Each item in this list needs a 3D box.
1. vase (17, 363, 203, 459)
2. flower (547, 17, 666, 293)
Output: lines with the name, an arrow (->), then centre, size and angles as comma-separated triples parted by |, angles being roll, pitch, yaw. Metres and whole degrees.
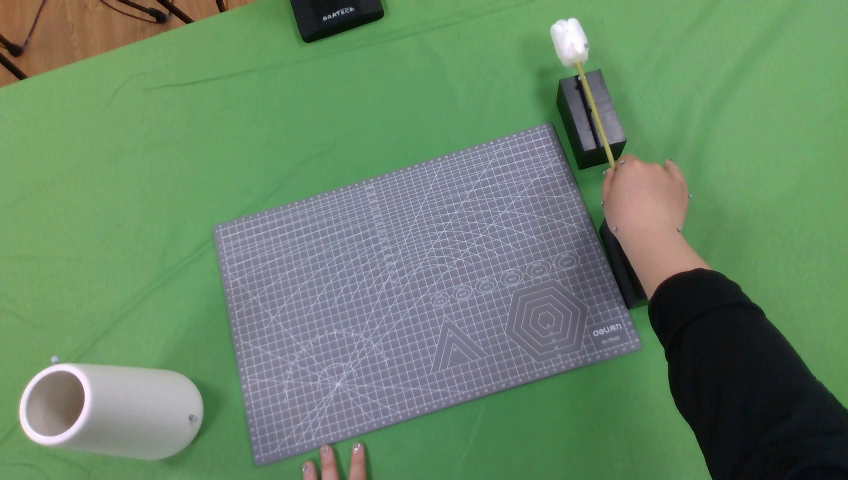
vase -> -0.306, 0.171, 0.613 | 0.098, 0.201, 0.097 | -2, 71, 5
flower -> 0.204, -0.107, 0.678 | 0.044, 0.038, 0.358 | 6, 60, -36
